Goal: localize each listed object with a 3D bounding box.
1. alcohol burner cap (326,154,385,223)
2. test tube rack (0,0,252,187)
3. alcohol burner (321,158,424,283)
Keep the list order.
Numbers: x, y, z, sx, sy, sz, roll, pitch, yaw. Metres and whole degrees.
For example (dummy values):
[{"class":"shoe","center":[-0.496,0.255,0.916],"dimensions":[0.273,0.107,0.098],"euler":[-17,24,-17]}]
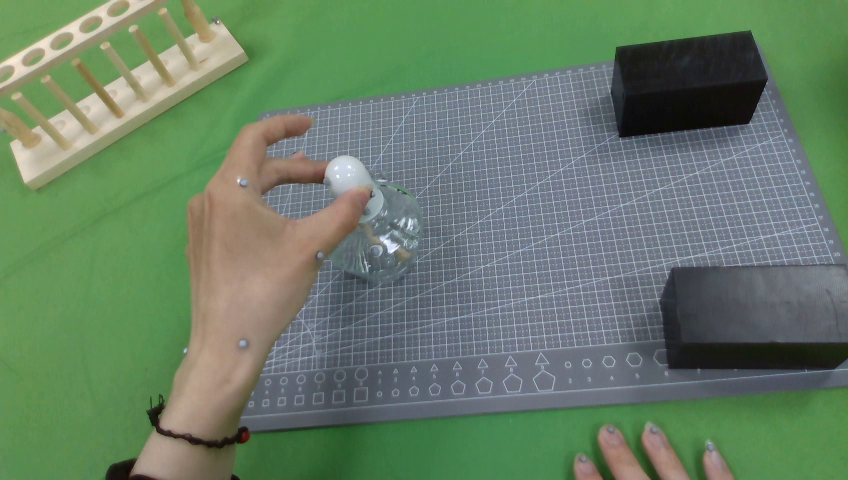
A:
[{"class":"alcohol burner cap","center":[-0.047,-0.036,0.402],"dimensions":[0.034,0.048,0.033],"euler":[-6,60,11]},{"class":"test tube rack","center":[-0.299,-0.159,0.582],"dimensions":[0.242,0.086,0.066],"euler":[-34,60,-8]},{"class":"alcohol burner","center":[-0.041,-0.018,0.432],"dimensions":[0.078,0.120,0.077],"euler":[-5,59,9]}]
